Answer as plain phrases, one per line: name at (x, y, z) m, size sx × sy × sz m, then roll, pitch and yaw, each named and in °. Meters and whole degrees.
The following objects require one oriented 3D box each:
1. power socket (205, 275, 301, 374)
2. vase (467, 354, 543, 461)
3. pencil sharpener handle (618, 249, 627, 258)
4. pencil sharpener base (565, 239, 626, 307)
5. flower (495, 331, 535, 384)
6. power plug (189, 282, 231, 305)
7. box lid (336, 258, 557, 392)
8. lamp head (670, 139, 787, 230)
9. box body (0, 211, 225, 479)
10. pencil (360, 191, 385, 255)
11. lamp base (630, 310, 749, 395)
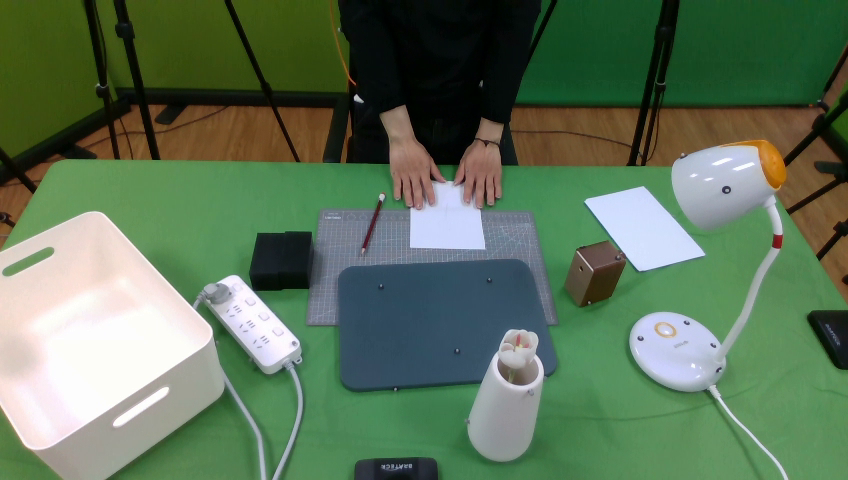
power socket at (-0.296, 0.140, 1.035) m, size 0.072 × 0.033 × 0.225 m, roll -32°, pitch 57°, yaw -29°
vase at (0.116, 0.234, 0.861) m, size 0.098 × 0.201 × 0.097 m, roll 1°, pitch 47°, yaw -1°
pencil sharpener handle at (0.359, 0.036, 1.113) m, size 0.031 × 0.068 × 0.036 m, roll -15°, pitch 61°, yaw -18°
pencil sharpener base at (0.313, 0.060, 1.104) m, size 0.077 × 0.107 × 0.061 m, roll -15°, pitch 49°, yaw -18°
flower at (0.111, 0.187, 0.791) m, size 0.044 × 0.363 × 0.038 m, roll -32°, pitch 65°, yaw -10°
power plug at (-0.368, 0.097, 1.039) m, size 0.072 × 0.053 × 0.035 m, roll -26°, pitch 55°, yaw -20°
box lid at (0.030, 0.140, 1.073) m, size 0.372 × 0.015 × 0.261 m, roll -3°, pitch 47°, yaw -7°
lamp head at (0.415, -0.079, 0.812) m, size 0.113 × 0.123 × 0.112 m, roll 12°, pitch 70°, yaw -37°
box body at (-0.504, 0.154, 0.916) m, size 0.362 × 0.161 × 0.254 m, roll 36°, pitch 54°, yaw 27°
pencil at (-0.105, -0.037, 1.229) m, size 0.012 × 0.012 × 0.193 m, roll 9°, pitch 45°, yaw 5°
lamp base at (0.447, 0.142, 0.984) m, size 0.161 × 0.181 × 0.178 m, roll -24°, pitch 55°, yaw -24°
